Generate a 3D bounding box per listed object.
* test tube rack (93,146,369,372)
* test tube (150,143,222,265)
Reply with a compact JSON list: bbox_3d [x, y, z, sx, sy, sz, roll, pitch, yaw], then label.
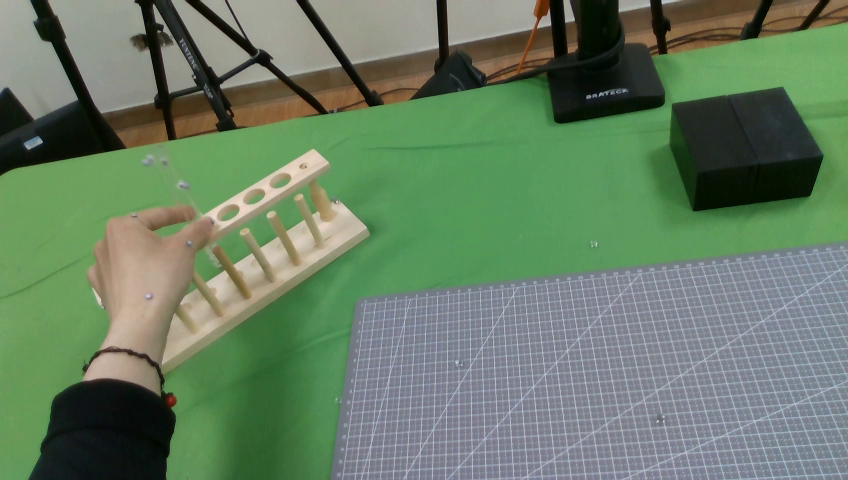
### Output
[{"bbox_3d":[-0.181,0.015,0.595,0.242,0.086,0.066,-35,49,-15],"label":"test tube rack"},{"bbox_3d":[-0.213,-0.028,0.558,0.017,0.152,0.017,-4,49,4],"label":"test tube"}]
